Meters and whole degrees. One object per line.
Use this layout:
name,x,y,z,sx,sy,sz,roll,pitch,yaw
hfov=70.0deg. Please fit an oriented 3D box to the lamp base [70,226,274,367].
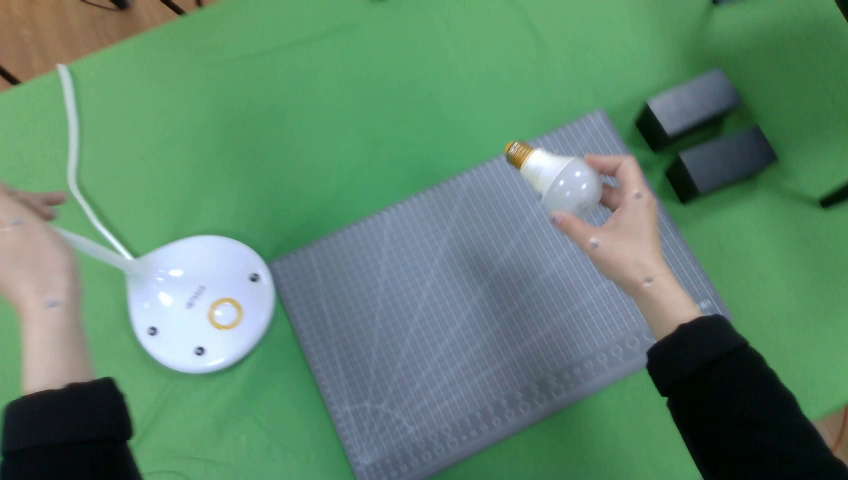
lamp base,-0.268,0.041,0.625,0.179,0.181,0.160,19,76,10

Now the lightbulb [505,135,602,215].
lightbulb,0.123,-0.068,0.593,0.107,0.060,0.059,38,80,18
